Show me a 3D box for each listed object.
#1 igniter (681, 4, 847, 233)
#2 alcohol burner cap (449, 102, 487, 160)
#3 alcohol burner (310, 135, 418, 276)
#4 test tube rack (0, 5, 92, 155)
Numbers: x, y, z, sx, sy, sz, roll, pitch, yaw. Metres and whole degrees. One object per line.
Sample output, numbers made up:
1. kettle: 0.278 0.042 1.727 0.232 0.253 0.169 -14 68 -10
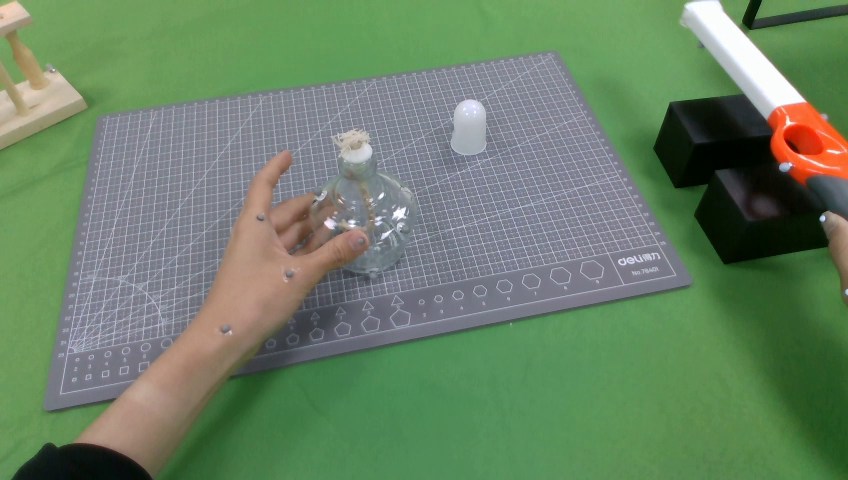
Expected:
1. igniter: 0.260 -0.079 0.424 0.057 0.025 0.273 -10 55 -9
2. alcohol burner cap: 0.039 -0.097 0.522 0.034 0.048 0.033 0 50 0
3. alcohol burner: -0.043 -0.028 0.423 0.078 0.120 0.077 1 52 0
4. test tube rack: -0.429 -0.103 0.512 0.242 0.086 0.066 -36 59 -25
